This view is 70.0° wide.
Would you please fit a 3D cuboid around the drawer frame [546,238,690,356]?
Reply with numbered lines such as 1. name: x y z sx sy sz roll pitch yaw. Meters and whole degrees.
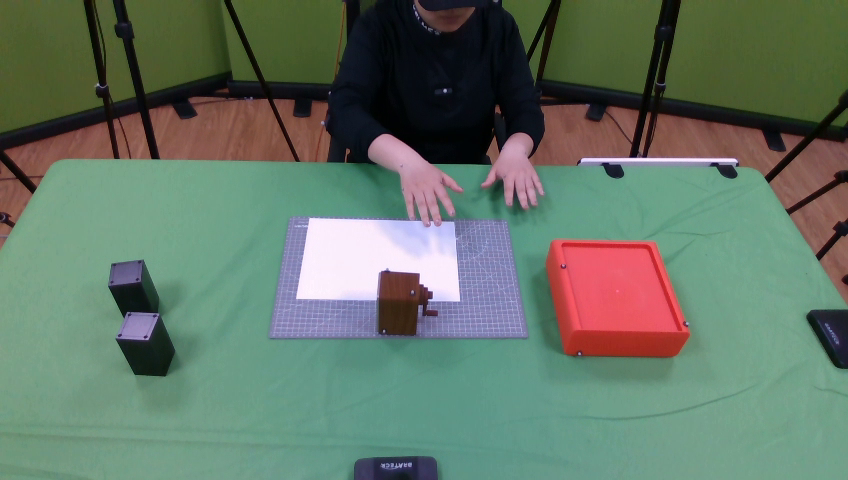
1. drawer frame: 0.337 0.098 1.084 0.202 0.083 0.212 1 46 -4

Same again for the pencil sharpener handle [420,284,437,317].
1. pencil sharpener handle: 0.009 0.104 1.017 0.030 0.068 0.036 3 39 -2

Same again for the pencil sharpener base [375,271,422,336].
1. pencil sharpener base: -0.043 0.109 1.025 0.077 0.107 0.061 3 45 -2

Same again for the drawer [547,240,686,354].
1. drawer: 0.336 0.098 1.087 0.194 0.073 0.210 2 47 -3

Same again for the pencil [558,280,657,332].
1. pencil: 0.334 0.121 1.105 0.193 0.012 0.012 27 49 14
